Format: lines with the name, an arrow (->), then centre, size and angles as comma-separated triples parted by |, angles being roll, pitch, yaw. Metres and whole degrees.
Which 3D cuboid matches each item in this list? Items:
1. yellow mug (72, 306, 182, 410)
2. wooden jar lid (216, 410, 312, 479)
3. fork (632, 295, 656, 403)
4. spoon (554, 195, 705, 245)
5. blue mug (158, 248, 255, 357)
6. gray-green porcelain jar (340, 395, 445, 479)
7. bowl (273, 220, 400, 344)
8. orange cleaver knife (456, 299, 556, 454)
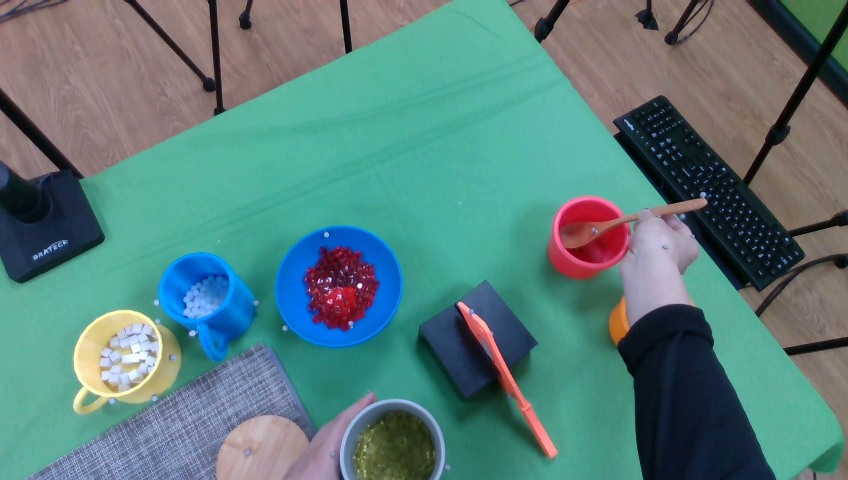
yellow mug -> -0.357, 0.145, 0.711 | 0.099, 0.064, 0.130 | 35, 74, 11
wooden jar lid -> -0.183, 0.252, 0.700 | 0.108, 0.021, 0.107 | 1, 71, -2
fork -> 0.257, 0.119, 0.701 | 0.028, 0.019, 0.206 | 30, 28, 3
spoon -> 0.244, -0.027, 0.742 | 0.022, 0.193, 0.041 | 34, 57, -31
blue mug -> -0.252, 0.081, 0.717 | 0.082, 0.106, 0.115 | -10, 71, -6
gray-green porcelain jar -> -0.033, 0.229, 0.662 | 0.106, 0.127, 0.105 | 1, 70, -2
bowl -> -0.103, 0.060, 0.745 | 0.151, 0.077, 0.150 | 1, 70, -2
orange cleaver knife -> 0.096, 0.160, 0.715 | 0.012, 0.077, 0.212 | -33, 104, -13
